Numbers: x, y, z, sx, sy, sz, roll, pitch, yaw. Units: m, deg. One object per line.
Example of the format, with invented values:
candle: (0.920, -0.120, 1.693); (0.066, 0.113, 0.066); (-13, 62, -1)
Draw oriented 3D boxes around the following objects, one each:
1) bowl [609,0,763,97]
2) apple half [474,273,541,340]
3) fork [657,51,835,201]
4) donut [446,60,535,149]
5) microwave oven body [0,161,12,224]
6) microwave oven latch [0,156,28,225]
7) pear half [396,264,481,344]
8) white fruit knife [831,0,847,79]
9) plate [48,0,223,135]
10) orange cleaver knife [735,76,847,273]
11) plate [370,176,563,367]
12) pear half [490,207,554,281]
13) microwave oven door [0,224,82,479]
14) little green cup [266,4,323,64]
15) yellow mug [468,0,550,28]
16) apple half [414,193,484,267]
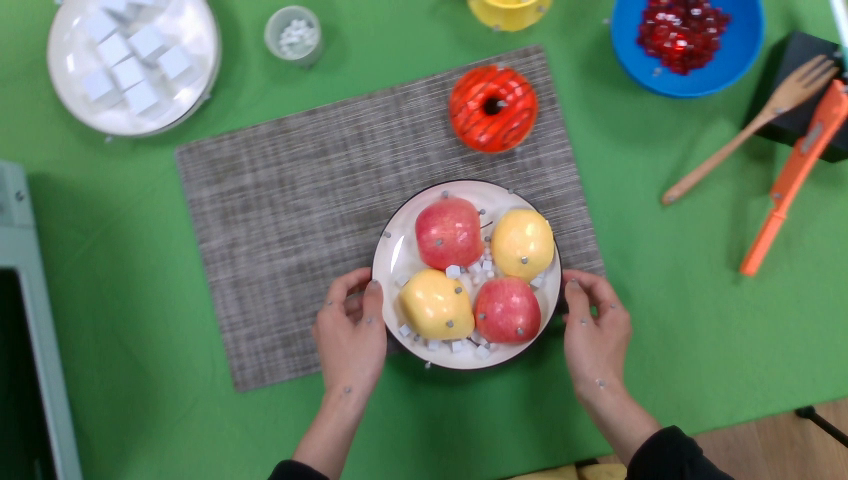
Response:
bowl: (0.266, -0.219, 0.645); (0.151, 0.077, 0.151); (0, 89, 5)
apple half: (0.083, 0.074, 0.650); (0.081, 0.033, 0.081); (3, 98, 26)
fork: (0.328, -0.112, 0.633); (0.028, 0.018, 0.207); (43, 113, -3)
donut: (0.073, -0.150, 0.672); (0.099, 0.048, 0.099); (0, 90, 7)
microwave oven body: (-0.605, 0.143, 0.615); (0.326, 0.260, 0.441); (-12, 88, 4)
microwave oven latch: (-0.488, -0.057, 0.706); (0.030, 0.029, 0.079); (-10, 89, 4)
pear half: (0.023, 0.078, 0.657); (0.110, 0.056, 0.076); (40, 98, -4)
white fruit knife: (0.432, -0.191, 0.612); (0.027, 0.016, 0.207); (-11, 85, -24)
plate: (-0.334, -0.225, 0.716); (0.207, 0.039, 0.207); (0, 89, 5)
orange cleaver knife: (0.377, -0.064, 0.630); (0.012, 0.077, 0.212); (22, 116, 10)
plate: (0.046, 0.034, 0.668); (0.209, 0.038, 0.209); (0, 91, 3)
pear half: (0.101, 0.009, 0.652); (0.070, 0.031, 0.088); (13, 96, 24)
microwave oven door: (-0.454, 0.155, 0.597); (0.039, 0.244, 0.355); (-12, 87, 5)
little green cup: (-0.146, -0.234, 0.700); (0.061, 0.039, 0.061); (0, 88, 6)
yellow mug: (0.079, -0.292, 0.668); (0.131, 0.064, 0.100); (-4, 88, 6)
apple half: (0.026, -0.009, 0.650); (0.074, 0.053, 0.081); (-4, 94, 4)
